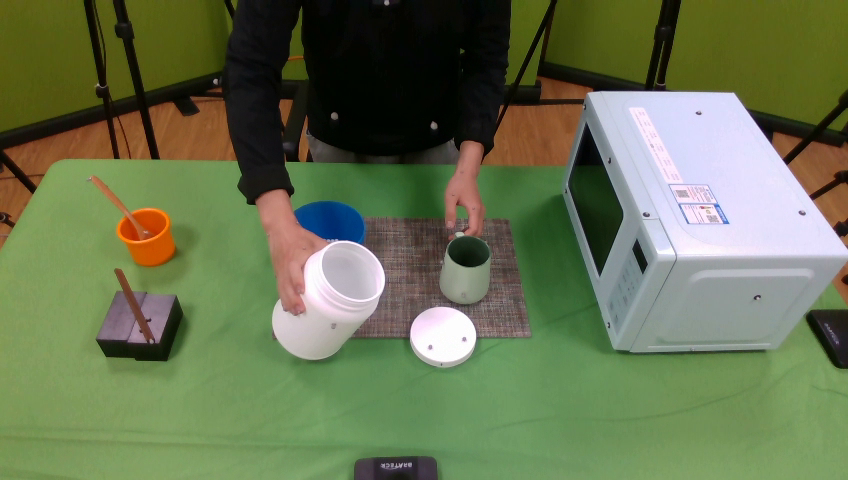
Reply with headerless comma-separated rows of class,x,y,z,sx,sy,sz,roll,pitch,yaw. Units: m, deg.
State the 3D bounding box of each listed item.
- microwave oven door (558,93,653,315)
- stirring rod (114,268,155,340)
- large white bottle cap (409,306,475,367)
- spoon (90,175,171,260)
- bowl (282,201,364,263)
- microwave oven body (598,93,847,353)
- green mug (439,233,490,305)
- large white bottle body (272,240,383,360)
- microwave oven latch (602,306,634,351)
microwave oven door,0.327,-0.074,1.123,0.039,0.245,0.353,0,46,-5
stirring rod,-0.479,0.103,0.999,0.014,0.006,0.175,7,32,-49
large white bottle cap,0.031,0.164,1.040,0.115,0.018,0.114,2,50,-3
spoon,-0.539,-0.042,1.111,0.021,0.194,0.041,-13,27,53
bowl,-0.187,0.005,1.137,0.151,0.077,0.150,3,46,-3
microwave oven body,0.475,-0.041,1.109,0.326,0.261,0.438,-1,45,-4
green mug,0.072,0.044,1.102,0.092,0.105,0.124,-6,46,-9
large white bottle body,-0.152,0.094,0.957,0.131,0.185,0.130,20,46,-22
microwave oven latch,0.332,0.153,1.044,0.030,0.029,0.078,0,45,-4
